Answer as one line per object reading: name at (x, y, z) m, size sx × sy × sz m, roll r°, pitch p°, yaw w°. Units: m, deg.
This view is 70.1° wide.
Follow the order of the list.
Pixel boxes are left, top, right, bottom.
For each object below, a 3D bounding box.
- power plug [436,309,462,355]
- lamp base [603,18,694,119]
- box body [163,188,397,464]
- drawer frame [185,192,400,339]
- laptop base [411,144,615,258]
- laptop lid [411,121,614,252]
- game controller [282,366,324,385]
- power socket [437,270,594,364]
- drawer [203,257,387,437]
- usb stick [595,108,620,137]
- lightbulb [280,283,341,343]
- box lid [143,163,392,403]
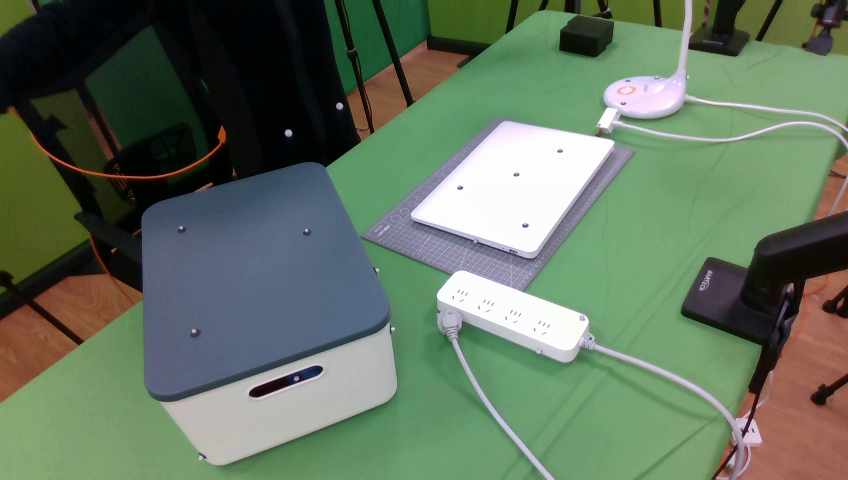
power plug at (0.032, 0.126, 0.809) m, size 0.035 × 0.053 × 0.072 m, roll 3°, pitch 58°, yaw 7°
lamp base at (0.460, -0.355, 1.205) m, size 0.179 × 0.181 × 0.160 m, roll 2°, pitch 41°, yaw 7°
box body at (-0.205, 0.080, 0.802) m, size 0.255 × 0.161 × 0.361 m, roll -18°, pitch 41°, yaw -13°
drawer frame at (-0.174, 0.079, 0.769) m, size 0.201 × 0.214 × 0.082 m, roll -31°, pitch 18°, yaw 25°
laptop base at (0.167, -0.102, 1.074) m, size 0.234 × 0.023 × 0.355 m, roll 17°, pitch 45°, yaw 30°
laptop lid at (0.164, -0.112, 1.068) m, size 0.240 × 0.013 × 0.357 m, roll 19°, pitch 46°, yaw 30°
game controller at (-0.159, 0.114, 0.735) m, size 0.154 × 0.052 × 0.097 m, roll 29°, pitch 51°, yaw 34°
power socket at (0.118, 0.102, 0.830) m, size 0.225 × 0.033 × 0.072 m, roll 20°, pitch 48°, yaw 28°
drawer at (-0.171, 0.127, 0.779) m, size 0.195 × 0.073 × 0.210 m, roll -16°, pitch 35°, yaw -15°
usb stick at (0.355, -0.226, 1.175) m, size 0.027 × 0.022 × 0.059 m, roll 29°, pitch 85°, yaw 40°
lightbulb at (-0.152, 0.102, 0.826) m, size 0.060 × 0.060 × 0.107 m, roll -35°, pitch 61°, yaw -29°
box lid at (-0.212, 0.025, 0.753) m, size 0.264 × 0.015 × 0.368 m, roll -18°, pitch 40°, yaw -13°
